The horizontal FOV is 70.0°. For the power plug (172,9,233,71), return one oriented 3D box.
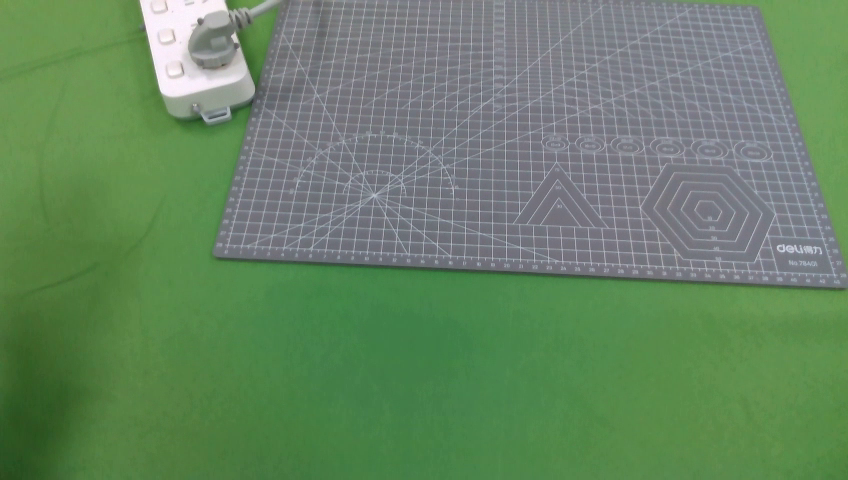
[{"bbox_3d":[-0.188,-0.162,0.491,0.072,0.035,0.052,1,62,26],"label":"power plug"}]

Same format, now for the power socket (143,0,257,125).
[{"bbox_3d":[-0.205,-0.194,0.536,0.072,0.033,0.224,-17,61,-12],"label":"power socket"}]
